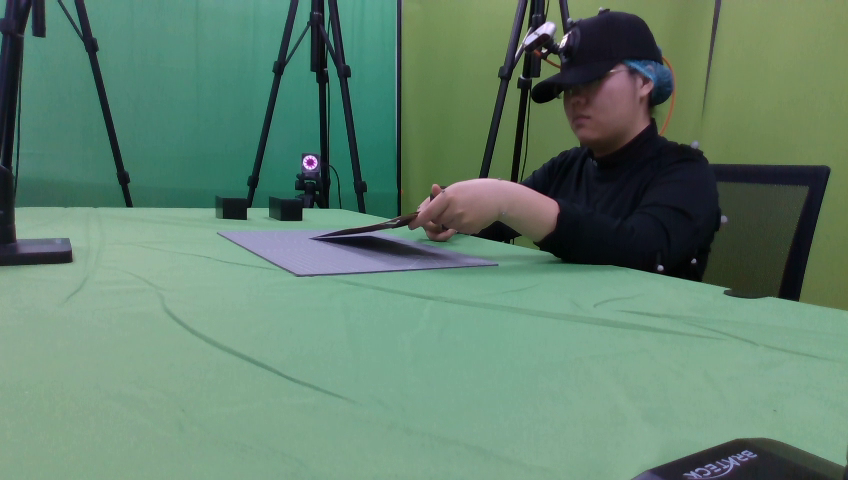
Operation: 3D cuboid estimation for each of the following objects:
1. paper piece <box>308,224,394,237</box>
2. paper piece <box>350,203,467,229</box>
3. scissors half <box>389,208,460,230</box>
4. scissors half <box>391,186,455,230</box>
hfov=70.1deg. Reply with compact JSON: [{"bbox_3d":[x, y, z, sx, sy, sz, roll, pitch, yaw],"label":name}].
[{"bbox_3d":[-0.111,-0.019,1.045,0.136,0.004,0.135,-6,-2,-41],"label":"paper piece"},{"bbox_3d":[-0.026,-0.038,0.942,0.136,0.008,0.137,-21,10,-38],"label":"paper piece"},{"bbox_3d":[0.004,-0.035,1.063,0.176,0.040,0.012,-4,-3,-45],"label":"scissors half"},{"bbox_3d":[-0.002,-0.056,1.061,0.013,0.040,0.176,-16,15,46],"label":"scissors half"}]
